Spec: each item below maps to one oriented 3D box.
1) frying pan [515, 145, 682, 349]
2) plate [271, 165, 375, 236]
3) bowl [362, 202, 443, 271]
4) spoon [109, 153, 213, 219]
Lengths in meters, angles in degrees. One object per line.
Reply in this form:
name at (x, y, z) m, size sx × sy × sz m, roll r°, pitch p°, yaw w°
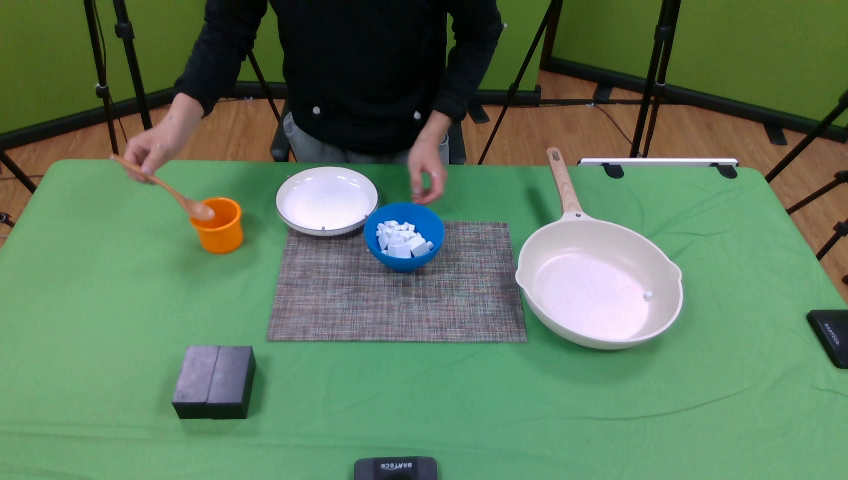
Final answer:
frying pan at (0.303, -0.004, 1.168) m, size 0.307 × 0.103 × 0.484 m, roll -2°, pitch 55°, yaw -7°
plate at (-0.204, -0.076, 1.240) m, size 0.208 × 0.039 × 0.206 m, roll 3°, pitch 44°, yaw -2°
bowl at (-0.041, 0.006, 1.144) m, size 0.151 × 0.077 × 0.150 m, roll 2°, pitch 46°, yaw -2°
spoon at (-0.453, -0.094, 1.052) m, size 0.021 × 0.195 × 0.041 m, roll -35°, pitch 34°, yaw 23°
